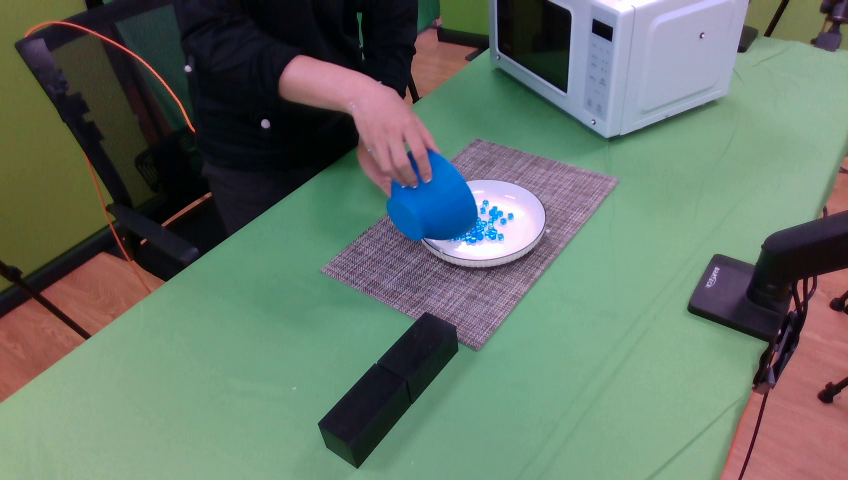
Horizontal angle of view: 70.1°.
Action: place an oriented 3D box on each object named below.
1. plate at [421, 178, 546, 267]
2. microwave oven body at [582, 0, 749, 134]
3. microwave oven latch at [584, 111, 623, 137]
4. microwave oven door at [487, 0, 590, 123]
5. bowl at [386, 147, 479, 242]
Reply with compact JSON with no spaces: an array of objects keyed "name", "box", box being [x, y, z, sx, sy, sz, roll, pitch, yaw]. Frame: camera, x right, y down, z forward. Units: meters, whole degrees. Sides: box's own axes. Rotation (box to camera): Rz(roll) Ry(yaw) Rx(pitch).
[{"name":"plate","box":[0.091,-0.026,0.970,0.207,0.039,0.206,-4,41,4]},{"name":"microwave oven body","box":[0.382,-0.445,1.246,0.327,0.261,0.437,-22,42,-16]},{"name":"microwave oven latch","box":[0.337,-0.222,1.142,0.030,0.029,0.078,-21,42,-14]},{"name":"microwave oven door","box":[0.232,-0.420,1.231,0.039,0.245,0.352,-22,43,-16]},{"name":"bowl","box":[-0.002,-0.051,0.873,0.150,0.152,0.077,30,59,35]}]
